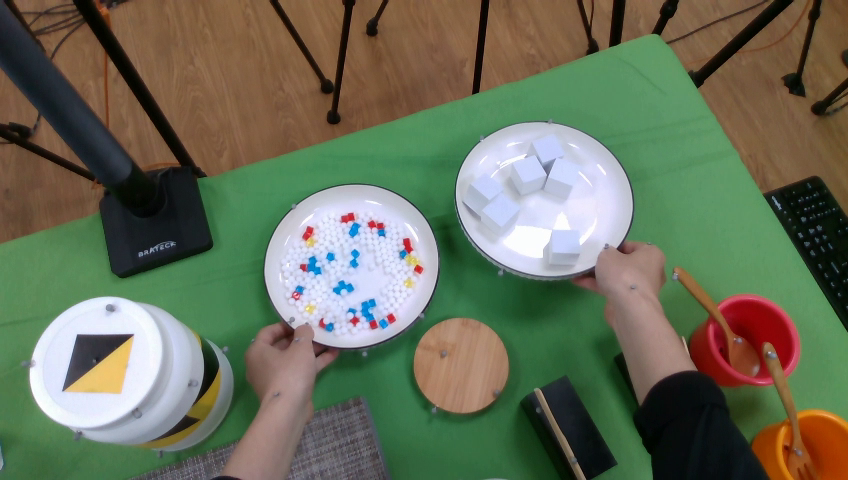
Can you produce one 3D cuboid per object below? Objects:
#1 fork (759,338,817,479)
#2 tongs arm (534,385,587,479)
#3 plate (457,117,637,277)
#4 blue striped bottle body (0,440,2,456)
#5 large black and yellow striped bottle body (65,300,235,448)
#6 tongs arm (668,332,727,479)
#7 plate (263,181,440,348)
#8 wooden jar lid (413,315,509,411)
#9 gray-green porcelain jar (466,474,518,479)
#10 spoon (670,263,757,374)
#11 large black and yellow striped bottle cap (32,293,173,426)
[{"bbox_3d":[0.365,0.177,0.607,0.028,0.018,0.209,-30,116,-2],"label":"fork"},{"bbox_3d":[0.215,0.310,0.588,0.051,0.026,0.383,-24,81,-10],"label":"tongs arm"},{"bbox_3d":[0.141,-0.050,0.715,0.208,0.039,0.206,0,66,0],"label":"plate"},{"bbox_3d":[-0.496,0.215,0.610,0.063,0.121,0.062,0,69,0],"label":"blue striped bottle body"},{"bbox_3d":[-0.280,0.136,0.607,0.131,0.185,0.130,0,68,0],"label":"large black and yellow striped bottle body"},{"bbox_3d":[0.295,0.283,0.598,0.028,0.028,0.386,-9,80,-10],"label":"tongs arm"},{"bbox_3d":[-0.085,0.029,0.725,0.209,0.038,0.207,0,69,0],"label":"plate"},{"bbox_3d":[0.042,0.140,0.692,0.108,0.021,0.107,0,71,1],"label":"wooden jar lid"},{"bbox_3d":[0.064,0.281,0.581,0.106,0.127,0.105,0,69,0],"label":"gray-green porcelain jar"},{"bbox_3d":[0.312,0.083,0.647,0.195,0.021,0.041,46,68,-30],"label":"spoon"},{"bbox_3d":[-0.280,0.103,0.529,0.115,0.019,0.114,0,70,0],"label":"large black and yellow striped bottle cap"}]
